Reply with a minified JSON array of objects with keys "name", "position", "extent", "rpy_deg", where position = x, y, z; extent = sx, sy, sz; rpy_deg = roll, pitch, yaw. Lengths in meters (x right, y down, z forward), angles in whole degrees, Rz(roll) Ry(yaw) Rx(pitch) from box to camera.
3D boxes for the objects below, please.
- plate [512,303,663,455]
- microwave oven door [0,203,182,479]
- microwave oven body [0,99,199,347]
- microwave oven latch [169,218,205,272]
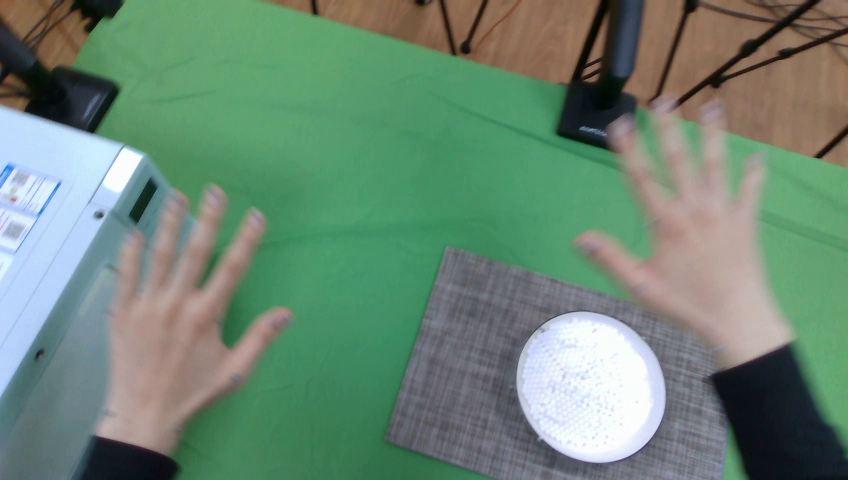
[{"name":"plate","position":[0.225,0.193,0.846],"extent":[0.209,0.038,0.207],"rpy_deg":[1,69,-3]},{"name":"microwave oven door","position":[-0.412,0.157,0.698],"extent":[0.039,0.245,0.354],"rpy_deg":[18,68,4]},{"name":"microwave oven body","position":[-0.537,0.078,0.727],"extent":[0.326,0.261,0.439],"rpy_deg":[18,69,4]},{"name":"microwave oven latch","position":[-0.345,0.004,0.871],"extent":[0.030,0.029,0.079],"rpy_deg":[20,69,4]}]
